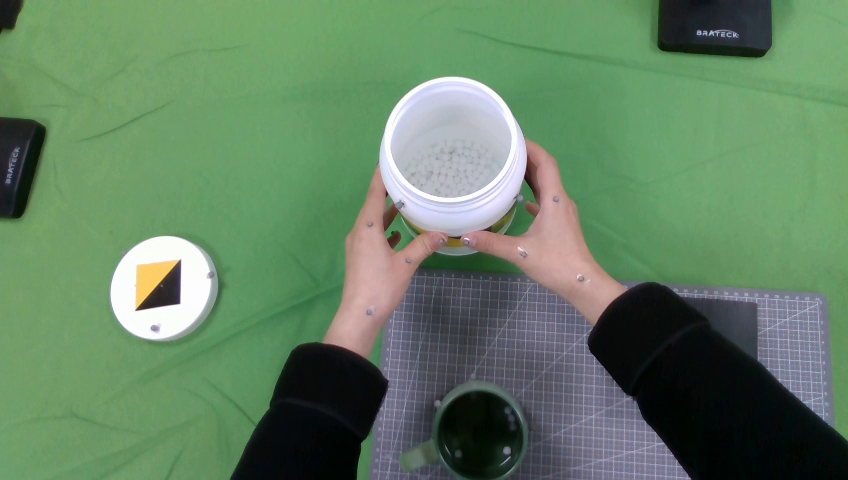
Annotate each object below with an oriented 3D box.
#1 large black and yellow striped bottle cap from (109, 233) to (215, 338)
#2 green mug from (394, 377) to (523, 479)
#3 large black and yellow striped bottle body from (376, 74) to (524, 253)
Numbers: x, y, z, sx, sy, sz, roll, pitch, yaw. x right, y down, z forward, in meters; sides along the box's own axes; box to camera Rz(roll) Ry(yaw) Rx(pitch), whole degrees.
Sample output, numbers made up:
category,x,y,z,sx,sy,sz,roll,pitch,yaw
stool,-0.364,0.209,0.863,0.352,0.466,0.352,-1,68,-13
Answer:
category,x,y,z,sx,sy,sz,roll,pitch,yaw
large black and yellow striped bottle cap,-0.288,0.049,0.665,0.115,0.019,0.114,-1,77,4
green mug,0.032,0.181,0.563,0.125,0.105,0.092,-21,77,0
large black and yellow striped bottle body,0.026,-0.066,0.575,0.131,0.185,0.130,-1,78,4
